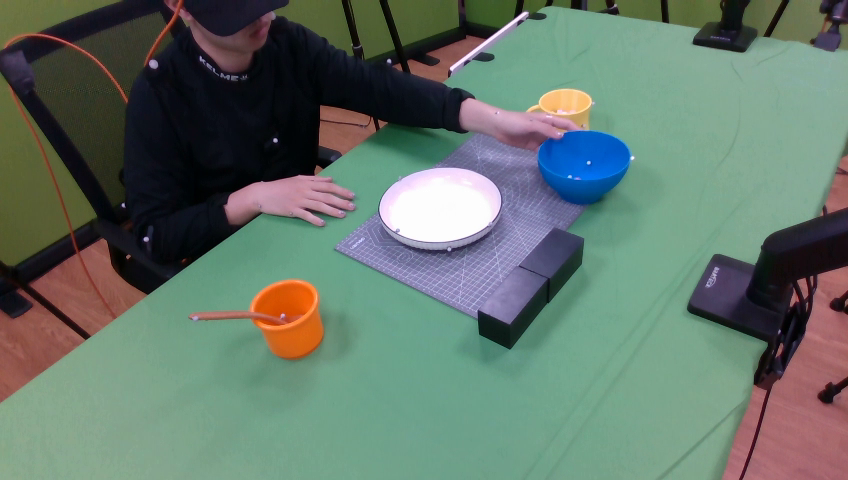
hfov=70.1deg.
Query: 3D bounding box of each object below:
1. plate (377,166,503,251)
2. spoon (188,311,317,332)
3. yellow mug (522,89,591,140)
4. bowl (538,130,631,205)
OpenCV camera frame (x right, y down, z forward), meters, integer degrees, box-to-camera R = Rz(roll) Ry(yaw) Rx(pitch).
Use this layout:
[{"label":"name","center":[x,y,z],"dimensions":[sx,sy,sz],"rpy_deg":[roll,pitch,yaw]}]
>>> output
[{"label":"plate","center":[0.027,-0.050,1.007],"dimensions":[0.209,0.038,0.208],"rpy_deg":[-4,41,4]},{"label":"spoon","center":[-0.216,0.102,0.784],"dimensions":[0.041,0.195,0.021],"rpy_deg":[26,95,39]},{"label":"yellow mug","center":[0.257,-0.239,1.178],"dimensions":[0.131,0.064,0.099],"rpy_deg":[-6,41,3]},{"label":"bowl","center":[0.265,-0.112,1.014],"dimensions":[0.151,0.077,0.150],"rpy_deg":[-4,40,4]}]
